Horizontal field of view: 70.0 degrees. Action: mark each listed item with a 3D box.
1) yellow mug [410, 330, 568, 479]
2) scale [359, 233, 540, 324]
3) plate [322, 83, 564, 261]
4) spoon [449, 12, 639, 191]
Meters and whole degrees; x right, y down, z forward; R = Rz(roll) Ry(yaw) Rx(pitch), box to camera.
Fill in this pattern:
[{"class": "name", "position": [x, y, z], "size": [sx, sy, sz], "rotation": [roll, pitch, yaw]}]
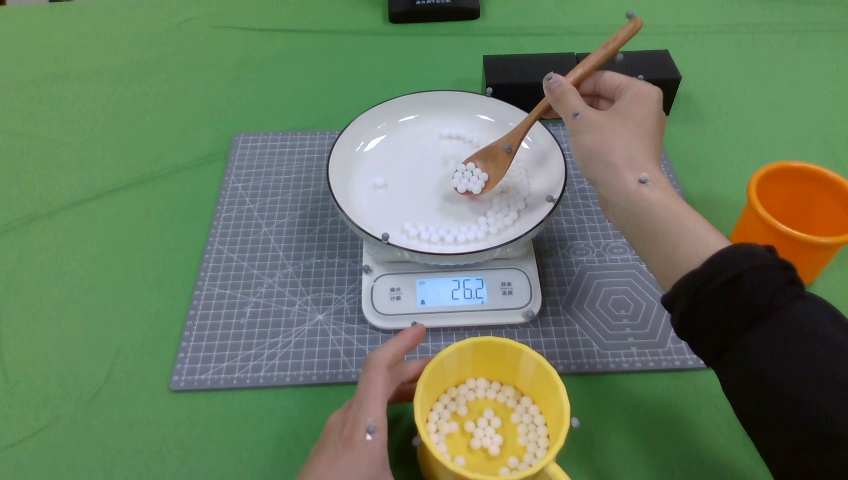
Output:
[{"class": "yellow mug", "position": [0.051, 0.129, 0.405], "size": [0.100, 0.064, 0.129], "rotation": [-36, 60, -24]}, {"class": "scale", "position": [0.018, -0.018, 0.542], "size": [0.149, 0.032, 0.199], "rotation": [-2, 51, -1]}, {"class": "plate", "position": [0.016, -0.061, 0.535], "size": [0.209, 0.038, 0.207], "rotation": [0, 51, 0]}, {"class": "spoon", "position": [0.094, -0.108, 0.487], "size": [0.194, 0.022, 0.041], "rotation": [-44, 55, 22]}]
